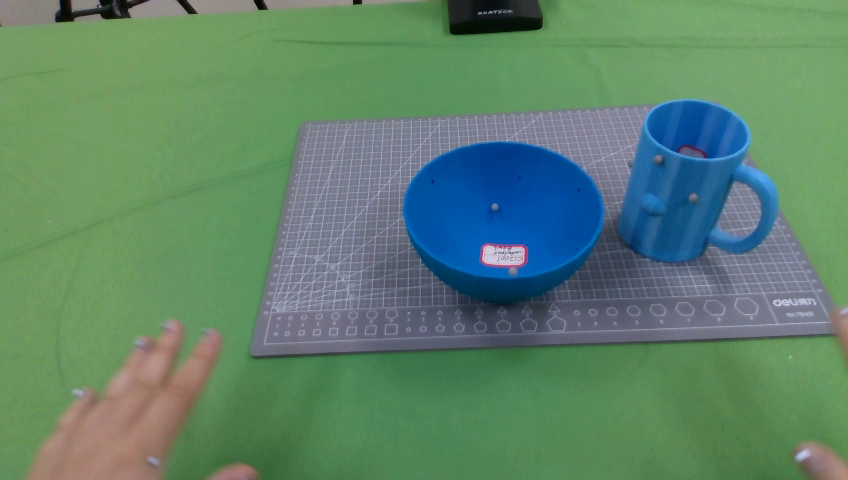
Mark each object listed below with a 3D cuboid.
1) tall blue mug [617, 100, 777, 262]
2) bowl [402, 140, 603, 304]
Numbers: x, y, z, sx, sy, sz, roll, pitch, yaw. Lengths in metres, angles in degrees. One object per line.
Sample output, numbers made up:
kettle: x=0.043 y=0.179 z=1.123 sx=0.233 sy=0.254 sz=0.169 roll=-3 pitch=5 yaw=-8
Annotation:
tall blue mug: x=0.218 y=-0.042 z=0.484 sx=0.107 sy=0.109 sz=0.077 roll=12 pitch=49 yaw=15
bowl: x=0.060 y=-0.002 z=0.480 sx=0.151 sy=0.077 sz=0.150 roll=-2 pitch=47 yaw=2
